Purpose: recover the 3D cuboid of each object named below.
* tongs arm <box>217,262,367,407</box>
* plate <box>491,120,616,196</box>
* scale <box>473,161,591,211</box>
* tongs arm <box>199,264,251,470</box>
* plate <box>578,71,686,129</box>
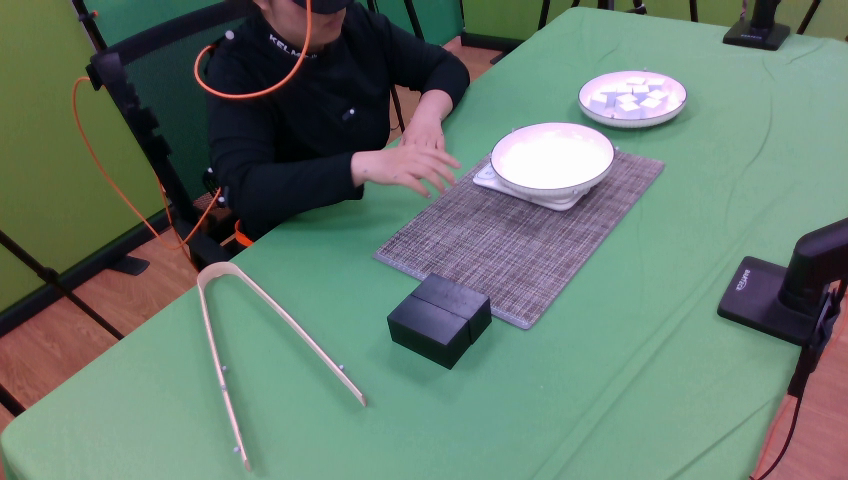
[{"bbox_3d":[-0.200,0.122,0.871,0.028,0.028,0.384,-36,46,-24],"label":"tongs arm"},{"bbox_3d":[0.221,-0.137,1.038,0.207,0.039,0.206,-6,41,5],"label":"plate"},{"bbox_3d":[0.202,-0.121,1.074,0.199,0.032,0.149,23,49,33],"label":"scale"},{"bbox_3d":[-0.269,0.154,0.841,0.051,0.026,0.381,-23,41,-17],"label":"tongs arm"},{"bbox_3d":[0.416,-0.279,1.222,0.209,0.038,0.208,-5,41,5],"label":"plate"}]
